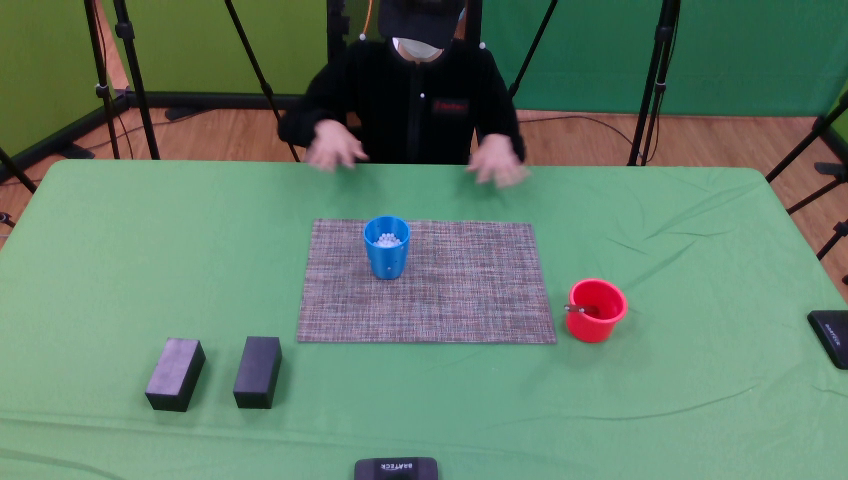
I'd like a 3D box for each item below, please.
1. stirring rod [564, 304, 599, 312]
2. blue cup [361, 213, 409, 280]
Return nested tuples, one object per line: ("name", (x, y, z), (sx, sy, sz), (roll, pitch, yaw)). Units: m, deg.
("stirring rod", (0.270, 0.116, 1.028), (0.014, 0.006, 0.177), (44, 16, 27))
("blue cup", (-0.070, 0.020, 1.113), (0.093, 0.101, 0.092), (1, 46, -1))
